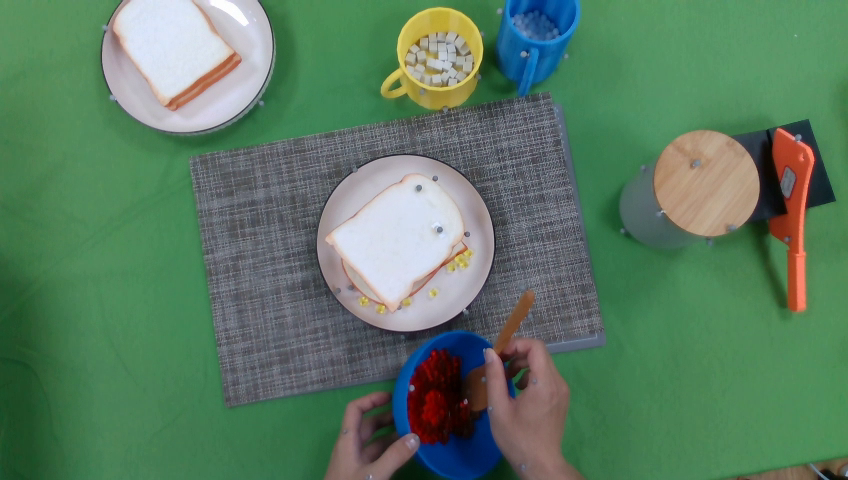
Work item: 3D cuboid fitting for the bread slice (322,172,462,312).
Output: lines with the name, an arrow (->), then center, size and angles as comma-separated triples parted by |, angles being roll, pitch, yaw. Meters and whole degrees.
bread slice -> -0.027, -0.008, 0.647 | 0.107, 0.018, 0.134 | 45, 77, -2

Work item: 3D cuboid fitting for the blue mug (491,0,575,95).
blue mug -> 0.121, -0.228, 0.706 | 0.082, 0.106, 0.116 | 11, 83, 2

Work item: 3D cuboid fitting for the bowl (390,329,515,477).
bowl -> 0.017, 0.174, 0.656 | 0.152, 0.076, 0.150 | 11, 72, -35

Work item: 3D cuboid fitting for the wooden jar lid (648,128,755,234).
wooden jar lid -> 0.278, -0.058, 0.612 | 0.108, 0.021, 0.108 | 0, 85, -3

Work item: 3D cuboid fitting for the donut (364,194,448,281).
donut -> -0.019, -0.003, 0.679 | 0.099, 0.048, 0.098 | 4, 78, -17

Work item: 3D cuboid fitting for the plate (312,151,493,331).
plate -> -0.024, 0.001, 0.707 | 0.209, 0.038, 0.208 | 0, 83, 0

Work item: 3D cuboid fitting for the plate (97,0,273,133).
plate -> -0.285, -0.228, 0.736 | 0.208, 0.039, 0.207 | 0, 83, 0

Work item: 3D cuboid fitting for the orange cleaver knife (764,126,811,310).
orange cleaver knife -> 0.413, -0.023, 0.694 | 0.012, 0.076, 0.212 | -11, 109, 0

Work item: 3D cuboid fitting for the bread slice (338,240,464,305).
bread slice -> -0.033, 0.012, 0.708 | 0.131, 0.019, 0.104 | -43, 84, -7

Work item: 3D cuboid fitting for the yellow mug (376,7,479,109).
yellow mug -> 0.001, -0.208, 0.722 | 0.131, 0.064, 0.099 | -31, 83, -3

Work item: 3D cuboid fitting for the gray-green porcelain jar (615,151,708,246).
gray-green porcelain jar -> 0.278, -0.049, 0.674 | 0.106, 0.127, 0.105 | 0, 83, 0

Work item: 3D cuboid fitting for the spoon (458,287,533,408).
spoon -> 0.073, 0.114, 0.622 | 0.022, 0.195, 0.041 | -23, 57, -33
